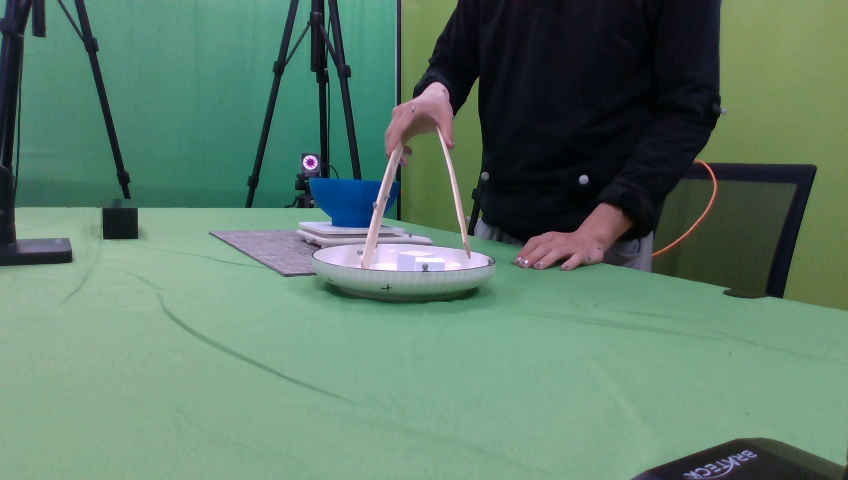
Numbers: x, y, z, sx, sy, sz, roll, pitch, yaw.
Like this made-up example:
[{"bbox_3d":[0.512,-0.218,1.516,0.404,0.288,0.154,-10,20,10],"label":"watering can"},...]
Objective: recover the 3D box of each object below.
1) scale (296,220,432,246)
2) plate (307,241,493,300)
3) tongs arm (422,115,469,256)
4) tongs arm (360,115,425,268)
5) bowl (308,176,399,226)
[{"bbox_3d":[-0.101,-0.012,1.017,0.202,0.031,0.148,-1,8,-30],"label":"scale"},{"bbox_3d":[-0.026,0.034,0.684,0.208,0.039,0.207,2,7,0],"label":"plate"},{"bbox_3d":[0.028,-0.093,0.823,0.028,0.028,0.386,-19,32,7],"label":"tongs arm"},{"bbox_3d":[-0.036,-0.080,0.833,0.050,0.026,0.384,-12,32,12],"label":"tongs arm"},{"bbox_3d":[-0.117,-0.064,1.001,0.151,0.077,0.151,2,6,0],"label":"bowl"}]
